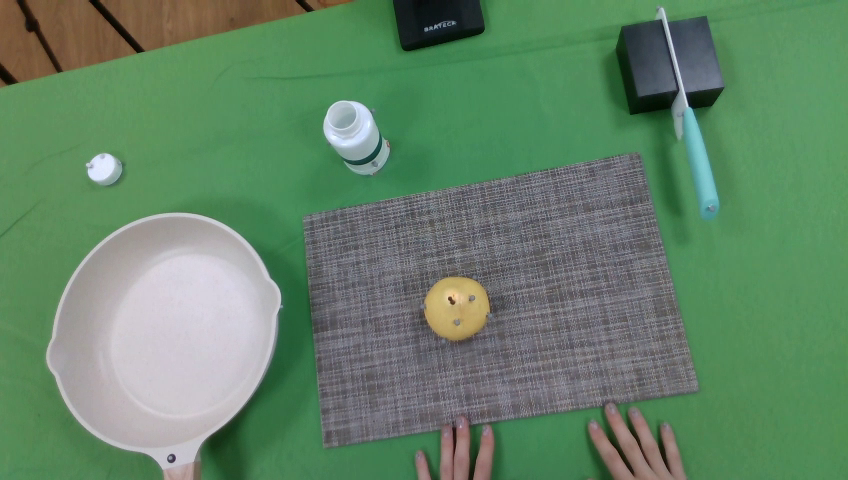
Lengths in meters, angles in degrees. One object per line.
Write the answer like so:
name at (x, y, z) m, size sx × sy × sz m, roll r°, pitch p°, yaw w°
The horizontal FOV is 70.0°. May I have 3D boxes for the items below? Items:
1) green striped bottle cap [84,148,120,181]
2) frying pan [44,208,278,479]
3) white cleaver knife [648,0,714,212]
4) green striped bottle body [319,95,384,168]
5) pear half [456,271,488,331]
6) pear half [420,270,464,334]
green striped bottle cap at (-0.460, -0.108, 0.866) m, size 0.044 × 0.020 × 0.044 m, roll -2°, pitch 77°, yaw 8°
frying pan at (-0.299, 0.199, 0.729) m, size 0.307 × 0.103 × 0.483 m, roll -15°, pitch 67°, yaw 5°
white cleaver knife at (0.314, -0.170, 0.749) m, size 0.021 × 0.066 × 0.284 m, roll -9°, pitch 74°, yaw 13°
green striped bottle body at (-0.093, -0.140, 0.771) m, size 0.063 × 0.120 × 0.063 m, roll -2°, pitch 76°, yaw 8°
pear half at (0.058, 0.070, 0.713) m, size 0.031 × 0.088 × 0.070 m, roll -6°, pitch 72°, yaw 8°
pear half at (0.022, 0.070, 0.708) m, size 0.056 × 0.110 × 0.076 m, roll -6°, pitch 71°, yaw 7°
